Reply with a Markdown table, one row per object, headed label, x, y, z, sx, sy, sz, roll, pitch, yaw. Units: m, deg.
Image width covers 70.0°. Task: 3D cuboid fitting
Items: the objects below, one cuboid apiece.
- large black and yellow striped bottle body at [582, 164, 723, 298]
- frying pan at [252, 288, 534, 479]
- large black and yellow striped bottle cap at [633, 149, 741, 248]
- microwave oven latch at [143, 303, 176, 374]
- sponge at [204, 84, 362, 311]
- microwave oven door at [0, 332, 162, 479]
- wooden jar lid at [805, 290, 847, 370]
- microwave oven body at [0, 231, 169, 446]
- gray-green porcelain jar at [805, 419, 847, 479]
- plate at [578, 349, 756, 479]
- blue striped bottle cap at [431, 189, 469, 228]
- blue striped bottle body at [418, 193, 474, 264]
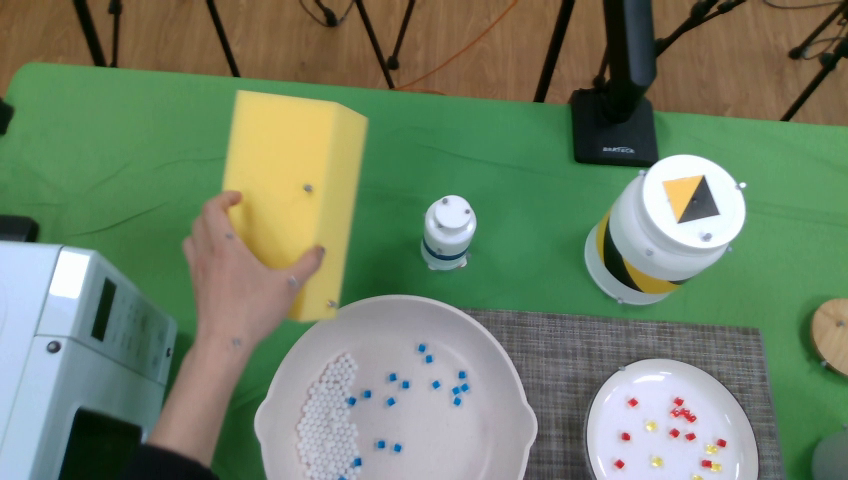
| label | x | y | z | sx | sy | sz | roll | pitch | yaw |
| --- | --- | --- | --- | --- | --- | --- | --- | --- | --- |
| large black and yellow striped bottle body | 0.282 | -0.015 | 0.743 | 0.131 | 0.185 | 0.130 | 2 | 68 | -4 |
| frying pan | -0.036 | 0.291 | 0.637 | 0.307 | 0.103 | 0.483 | 2 | 60 | -1 |
| large black and yellow striped bottle cap | 0.288 | -0.047 | 0.663 | 0.115 | 0.019 | 0.114 | 2 | 67 | -3 |
| microwave oven latch | -0.310 | 0.113 | 0.701 | 0.030 | 0.029 | 0.078 | 7 | 69 | -2 |
| sponge | -0.142 | -0.043 | 0.608 | 0.117 | 0.061 | 0.207 | 10 | 93 | 23 |
| microwave oven door | -0.318 | 0.278 | 0.527 | 0.039 | 0.245 | 0.353 | 4 | 68 | -3 |
| wooden jar lid | 0.555 | 0.120 | 0.801 | 0.108 | 0.021 | 0.107 | 1 | 70 | -4 |
| microwave oven body | -0.461 | 0.230 | 0.540 | 0.326 | 0.261 | 0.438 | 4 | 69 | -3 |
| gray-green porcelain jar | 0.515 | 0.255 | 0.688 | 0.106 | 0.127 | 0.105 | 2 | 68 | -4 |
| plate | 0.283 | 0.235 | 0.720 | 0.209 | 0.038 | 0.207 | 1 | 69 | -3 |
| blue striped bottle cap | 0.030 | -0.037 | 0.708 | 0.044 | 0.021 | 0.044 | 1 | 66 | -2 |
| blue striped bottle body | 0.027 | -0.019 | 0.756 | 0.063 | 0.121 | 0.062 | 2 | 68 | -4 |
